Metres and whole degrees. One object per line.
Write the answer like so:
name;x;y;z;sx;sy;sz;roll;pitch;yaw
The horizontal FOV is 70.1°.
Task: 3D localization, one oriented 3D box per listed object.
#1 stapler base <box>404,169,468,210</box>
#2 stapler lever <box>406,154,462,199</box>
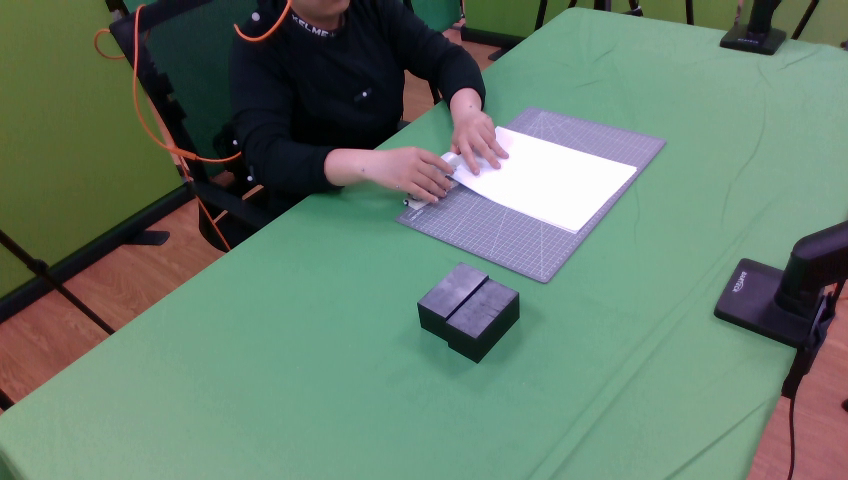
stapler base;0.022;-0.100;1.088;0.131;0.024;0.041;-35;44;-26
stapler lever;0.019;-0.115;1.073;0.118;0.040;0.026;-32;43;-29
